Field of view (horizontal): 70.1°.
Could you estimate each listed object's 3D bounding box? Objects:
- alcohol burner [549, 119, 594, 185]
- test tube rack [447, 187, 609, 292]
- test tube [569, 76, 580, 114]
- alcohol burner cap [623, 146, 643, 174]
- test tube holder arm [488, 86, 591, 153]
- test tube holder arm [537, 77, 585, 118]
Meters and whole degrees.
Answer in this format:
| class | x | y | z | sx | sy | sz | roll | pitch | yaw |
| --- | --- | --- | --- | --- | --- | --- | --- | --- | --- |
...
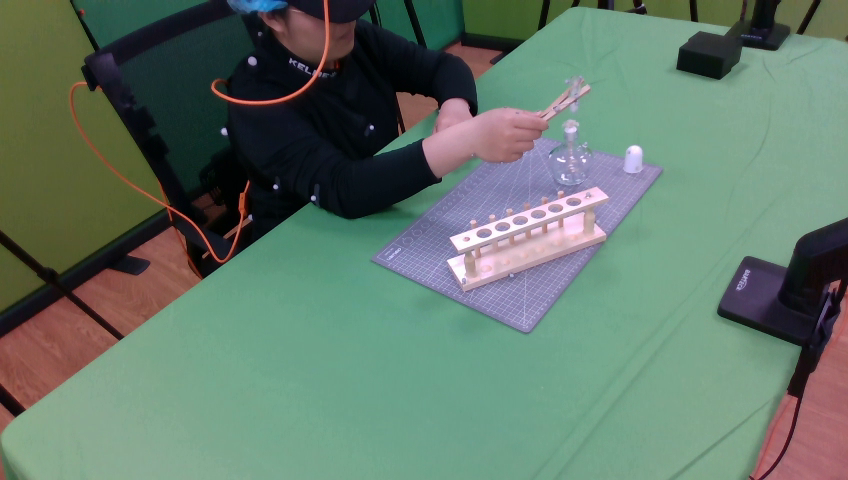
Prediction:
| class | x | y | z | sx | sy | sz | roll | pitch | yaw |
| --- | --- | --- | --- | --- | --- | --- | --- | --- | --- |
| alcohol burner | 0.254 | -0.155 | 1.043 | 0.078 | 0.120 | 0.077 | -7 | 40 | 6 |
| test tube rack | 0.155 | -0.011 | 0.913 | 0.243 | 0.085 | 0.066 | -19 | 41 | -11 |
| test tube | 0.233 | -0.222 | 0.937 | 0.017 | 0.151 | 0.017 | -1 | 85 | 13 |
| alcohol burner cap | 0.369 | -0.143 | 1.062 | 0.034 | 0.048 | 0.033 | -7 | 41 | 6 |
| test tube holder arm | 0.177 | -0.185 | 0.936 | 0.178 | 0.013 | 0.015 | -33 | -3 | 17 |
| test tube holder arm | 0.208 | -0.215 | 0.924 | 0.087 | 0.010 | 0.015 | -42 | -6 | 16 |
